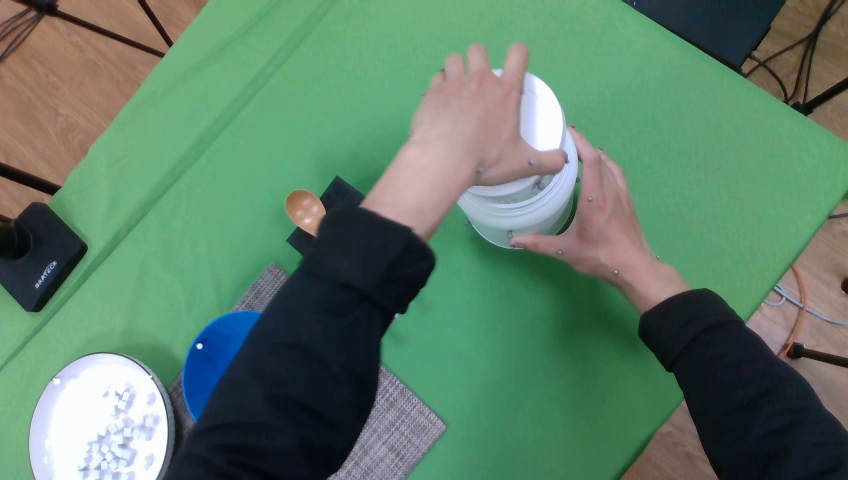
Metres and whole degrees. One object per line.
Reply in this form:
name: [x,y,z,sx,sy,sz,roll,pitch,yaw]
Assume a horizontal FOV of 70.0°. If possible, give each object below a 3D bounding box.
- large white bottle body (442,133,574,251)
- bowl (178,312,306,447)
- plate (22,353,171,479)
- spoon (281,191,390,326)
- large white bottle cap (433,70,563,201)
large white bottle body: [0.090,-0.064,0.642,0.130,0.185,0.130,-2,80,11]
bowl: [-0.201,0.162,0.717,0.151,0.077,0.151,-2,81,11]
plate: [-0.407,0.248,0.766,0.208,0.038,0.208,-3,79,13]
spoon: [-0.102,0.023,0.705,0.041,0.022,0.193,-37,81,-2]
large white bottle cap: [0.063,-0.091,0.530,0.114,0.018,0.114,-2,83,21]
